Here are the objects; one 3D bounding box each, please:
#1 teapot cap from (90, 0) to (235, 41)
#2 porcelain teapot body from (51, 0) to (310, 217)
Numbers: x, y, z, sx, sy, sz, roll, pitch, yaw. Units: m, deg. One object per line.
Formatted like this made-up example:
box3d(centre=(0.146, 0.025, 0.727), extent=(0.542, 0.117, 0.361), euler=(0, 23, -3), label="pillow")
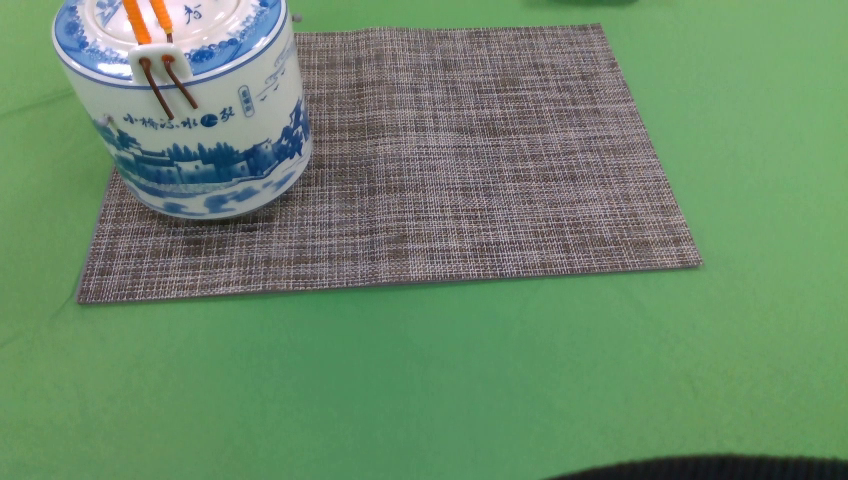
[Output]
box3d(centre=(-0.160, -0.151, 0.370), extent=(0.085, 0.044, 0.084), euler=(0, 53, 0), label="teapot cap")
box3d(centre=(-0.165, -0.152, 0.419), extent=(0.145, 0.227, 0.203), euler=(-8, 55, -8), label="porcelain teapot body")
